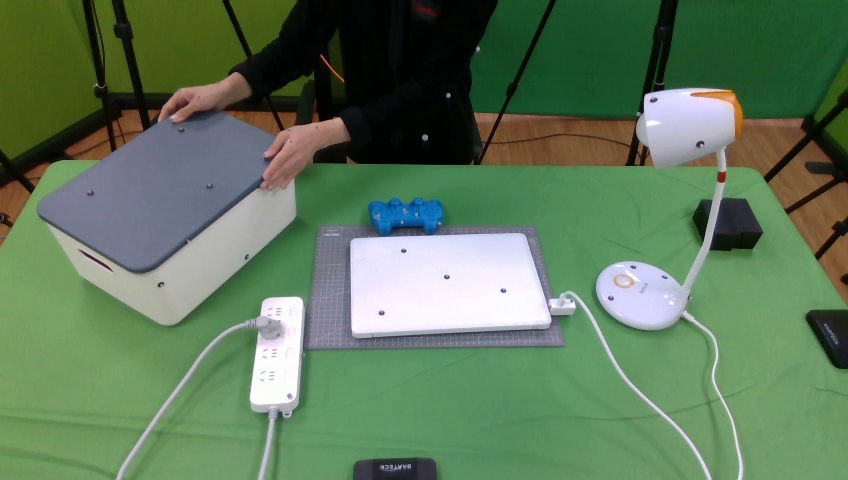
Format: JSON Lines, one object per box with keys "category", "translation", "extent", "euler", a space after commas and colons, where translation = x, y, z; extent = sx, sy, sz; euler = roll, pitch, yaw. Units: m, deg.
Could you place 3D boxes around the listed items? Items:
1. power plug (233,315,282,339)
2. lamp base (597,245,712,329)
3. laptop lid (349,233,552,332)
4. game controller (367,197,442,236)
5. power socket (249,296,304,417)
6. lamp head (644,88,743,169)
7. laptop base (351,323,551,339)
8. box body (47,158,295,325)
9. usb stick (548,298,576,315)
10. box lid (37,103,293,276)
{"category": "power plug", "translation": [-0.271, 0.144, 0.999], "extent": [0.072, 0.053, 0.035], "euler": [6, 47, 3]}
{"category": "lamp base", "translation": [0.418, 0.051, 1.071], "extent": [0.179, 0.181, 0.160], "euler": [22, 49, 13]}
{"category": "laptop lid", "translation": [0.040, 0.071, 1.118], "extent": [0.357, 0.013, 0.240], "euler": [-1, 44, -5]}
{"category": "game controller", "translation": [-0.037, -0.057, 1.231], "extent": [0.155, 0.052, 0.096], "euler": [-2, 49, -6]}
{"category": "power socket", "translation": [-0.239, 0.182, 0.996], "extent": [0.072, 0.033, 0.225], "euler": [-2, 47, -5]}
{"category": "lamp head", "translation": [0.380, -0.161, 0.851], "extent": [0.122, 0.113, 0.112], "euler": [-4, 42, 25]}
{"category": "laptop base", "translation": [0.040, 0.080, 1.125], "extent": [0.355, 0.023, 0.234], "euler": [-2, 43, -6]}
{"category": "box body", "translation": [-0.437, -0.046, 1.110], "extent": [0.253, 0.161, 0.363], "euler": [24, 49, 19]}
{"category": "usb stick", "translation": [0.240, 0.120, 1.085], "extent": [0.059, 0.027, 0.021], "euler": [-2, 51, -2]}
{"category": "box lid", "translation": [-0.435, -0.105, 1.046], "extent": [0.262, 0.015, 0.370], "euler": [25, 51, 18]}
